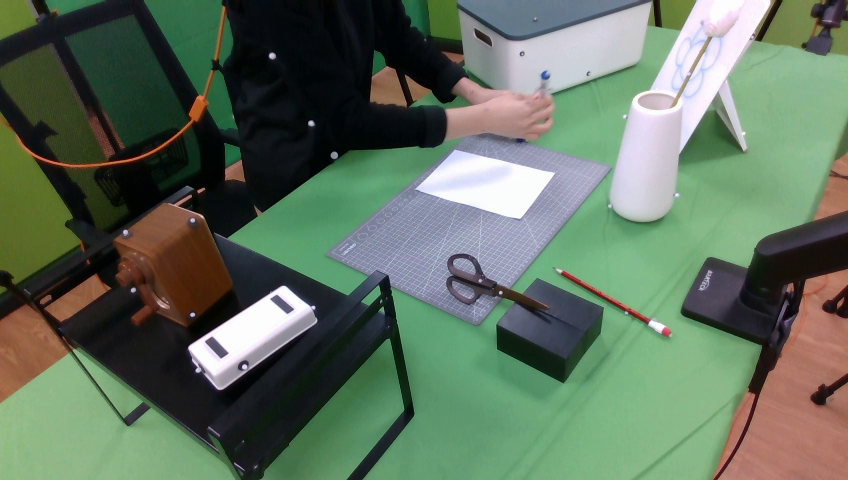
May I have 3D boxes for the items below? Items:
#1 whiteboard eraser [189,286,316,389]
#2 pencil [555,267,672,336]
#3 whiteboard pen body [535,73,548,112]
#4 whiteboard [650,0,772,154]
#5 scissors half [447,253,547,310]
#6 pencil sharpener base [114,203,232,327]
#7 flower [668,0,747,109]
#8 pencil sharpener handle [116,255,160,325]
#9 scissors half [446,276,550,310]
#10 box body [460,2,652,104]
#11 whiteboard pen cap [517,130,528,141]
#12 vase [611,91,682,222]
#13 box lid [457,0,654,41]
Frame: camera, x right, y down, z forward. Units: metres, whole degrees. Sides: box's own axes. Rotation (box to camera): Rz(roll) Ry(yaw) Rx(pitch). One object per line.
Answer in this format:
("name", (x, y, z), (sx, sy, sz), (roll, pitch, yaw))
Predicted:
("whiteboard eraser", (-0.166, 0.096, 0.593), (0.113, 0.042, 0.055), (-36, 47, -29))
("pencil", (0.261, 0.082, 0.851), (0.012, 0.012, 0.192), (-33, 45, -27))
("whiteboard pen body", (0.201, -0.250, 1.038), (0.017, 0.141, 0.017), (-1, 79, 7))
("whiteboard", (0.543, -0.298, 1.076), (0.144, 0.305, 0.216), (12, 40, -7))
("scissors half", (0.098, 0.058, 0.821), (0.173, 0.040, 0.013), (27, 34, 36))
("pencil sharpener base", (-0.261, 0.029, 0.635), (0.061, 0.107, 0.077), (18, 47, 27))
("flower", (0.354, -0.187, 0.879), (0.038, 0.362, 0.044), (31, 48, 14))
("pencil sharpener handle", (-0.286, 0.050, 0.594), (0.035, 0.068, 0.031), (7, 41, 35))
("scissors half", (0.098, 0.077, 0.827), (0.174, 0.040, 0.013), (6, 14, 44))
("box body", (0.291, -0.465, 1.371), (0.365, 0.161, 0.252), (-22, 42, -16))
("whiteboard pen cap", (0.194, -0.206, 1.194), (0.018, 0.018, 0.033), (10, 27, 19))
("vase", (0.348, -0.125, 0.935), (0.098, 0.201, 0.097), (-3, 40, 3))
("box lid", (0.285, -0.522, 1.323), (0.373, 0.015, 0.261), (-22, 43, -16))
